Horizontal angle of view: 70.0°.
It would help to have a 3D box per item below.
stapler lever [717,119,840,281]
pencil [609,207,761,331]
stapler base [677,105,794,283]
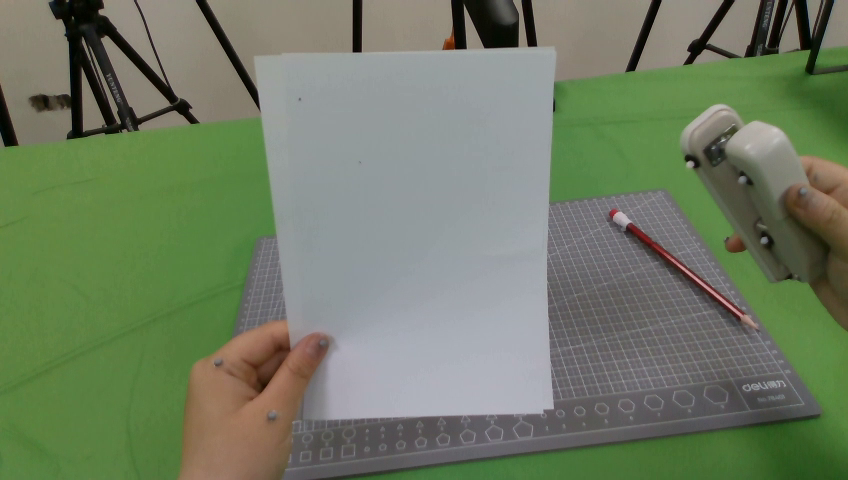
[{"bbox_3d":[0.219,-0.022,0.366,0.027,0.119,0.040,-40,15,4],"label":"stapler lever"},{"bbox_3d":[0.233,0.021,0.559,0.012,0.012,0.192,-19,40,-15],"label":"pencil"},{"bbox_3d":[0.214,-0.027,0.390,0.041,0.131,0.024,-40,15,4],"label":"stapler base"}]
